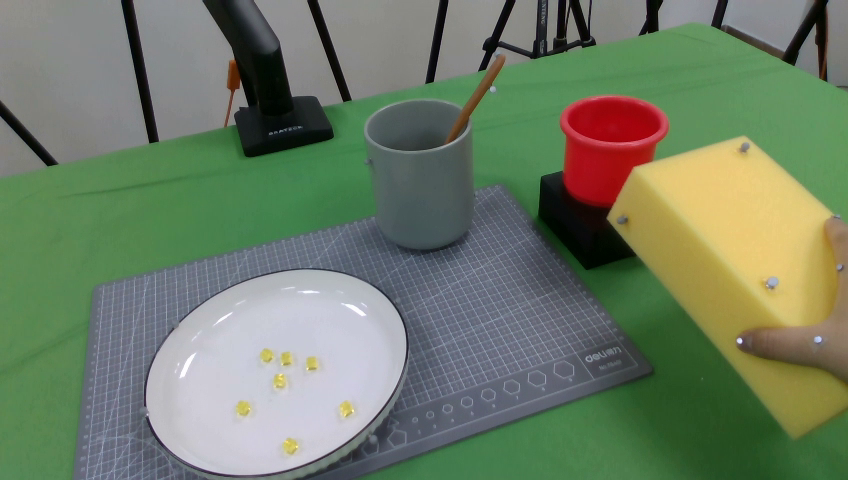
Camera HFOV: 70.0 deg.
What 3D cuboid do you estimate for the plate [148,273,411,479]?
[{"bbox_3d":[-0.113,0.109,0.497,0.207,0.039,0.205,-3,39,3],"label":"plate"}]

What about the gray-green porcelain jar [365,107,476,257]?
[{"bbox_3d":[0.000,-0.055,0.616,0.106,0.127,0.105,-3,39,3],"label":"gray-green porcelain jar"}]

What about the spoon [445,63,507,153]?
[{"bbox_3d":[0.028,-0.085,0.591,0.022,0.194,0.041,18,30,-16],"label":"spoon"}]

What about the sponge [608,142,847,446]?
[{"bbox_3d":[0.250,0.026,0.438,0.118,0.061,0.204,-18,55,-22],"label":"sponge"}]
